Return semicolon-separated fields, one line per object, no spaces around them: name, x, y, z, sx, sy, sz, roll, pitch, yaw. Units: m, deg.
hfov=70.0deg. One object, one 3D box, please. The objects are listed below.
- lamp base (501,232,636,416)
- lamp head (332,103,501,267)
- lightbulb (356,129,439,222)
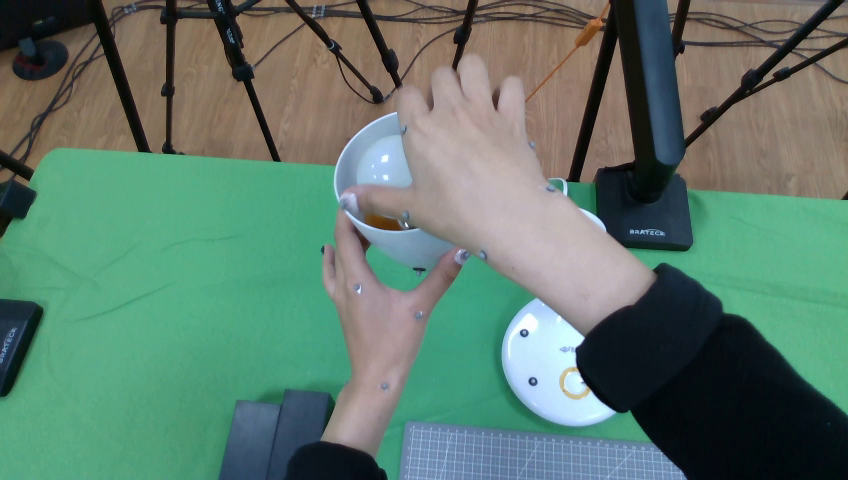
lamp base;0.169;0.084;0.666;0.161;0.182;0.177;-8;60;-3
lamp head;0.002;-0.032;0.487;0.112;0.124;0.111;-8;61;15
lightbulb;-0.013;-0.040;0.458;0.059;0.108;0.059;-6;66;15
